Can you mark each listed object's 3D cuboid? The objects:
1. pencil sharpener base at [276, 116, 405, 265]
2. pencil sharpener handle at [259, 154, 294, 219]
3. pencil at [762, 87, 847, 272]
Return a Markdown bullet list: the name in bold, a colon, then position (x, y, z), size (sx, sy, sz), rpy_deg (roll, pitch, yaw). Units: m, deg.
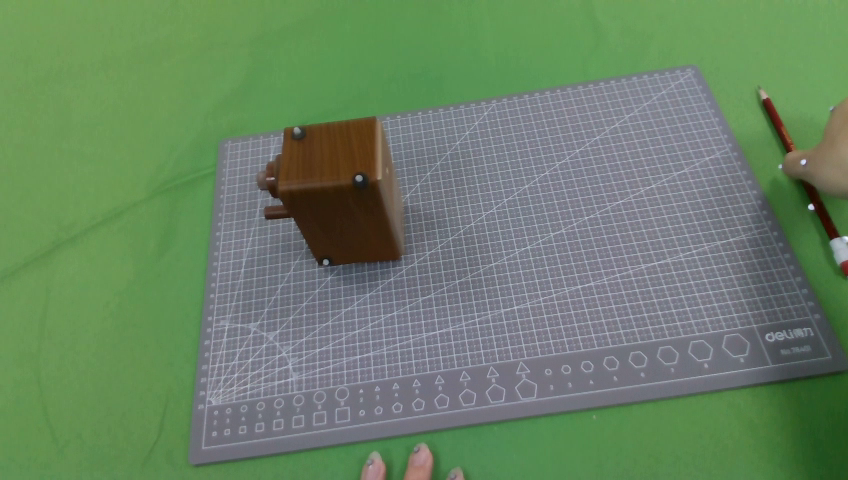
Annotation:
- **pencil sharpener base**: position (-0.059, -0.033, 0.455), size (0.076, 0.108, 0.061), rpy_deg (-6, 58, 4)
- **pencil sharpener handle**: position (-0.111, -0.035, 0.448), size (0.030, 0.068, 0.035), rpy_deg (-6, 62, 5)
- **pencil**: position (0.304, -0.055, 0.483), size (0.012, 0.012, 0.192), rpy_deg (-6, 56, 4)
